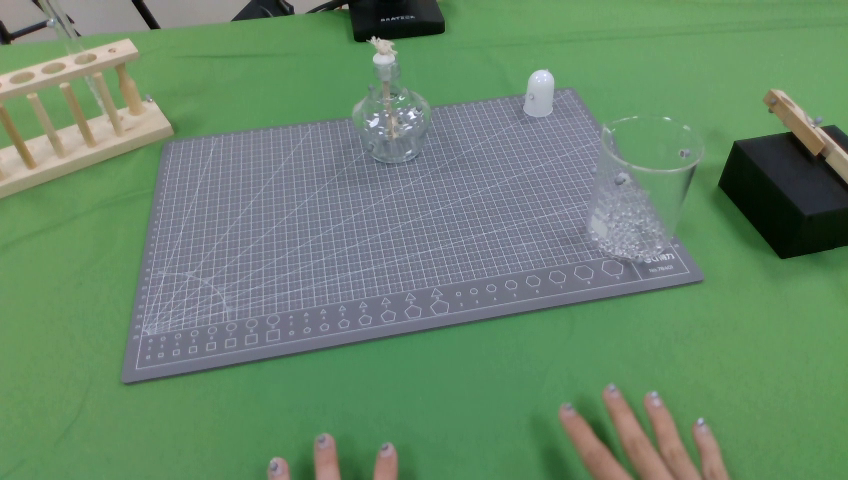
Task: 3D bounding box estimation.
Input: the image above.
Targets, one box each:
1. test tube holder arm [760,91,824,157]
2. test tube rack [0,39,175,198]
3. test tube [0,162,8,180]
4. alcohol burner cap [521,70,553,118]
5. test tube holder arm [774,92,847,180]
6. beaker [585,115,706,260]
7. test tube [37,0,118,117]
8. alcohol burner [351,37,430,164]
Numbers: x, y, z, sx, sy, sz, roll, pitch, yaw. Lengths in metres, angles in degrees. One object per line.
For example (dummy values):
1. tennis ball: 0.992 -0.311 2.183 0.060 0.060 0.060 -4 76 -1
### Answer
1. test tube holder arm: 0.328 -0.104 0.538 0.010 0.015 0.087 -4 45 -10
2. test tube rack: -0.385 -0.110 0.590 0.242 0.086 0.066 -27 50 -23
3. test tube: -0.413 -0.114 0.532 0.017 0.152 0.017 -2 44 2
4. alcohol burner cap: 0.122 -0.158 0.646 0.034 0.048 0.033 -1 45 1
5. test tube holder arm: 0.341 -0.073 0.507 0.013 0.015 0.176 -4 45 -10
6. beaker: 0.169 -0.040 0.488 0.074 0.101 0.083 -31 51 -26
7. test tube: -0.339 -0.183 0.590 0.017 0.152 0.017 -3 48 4
8. alcohol burner: -0.034 -0.134 0.578 0.078 0.120 0.077 -2 44 3
